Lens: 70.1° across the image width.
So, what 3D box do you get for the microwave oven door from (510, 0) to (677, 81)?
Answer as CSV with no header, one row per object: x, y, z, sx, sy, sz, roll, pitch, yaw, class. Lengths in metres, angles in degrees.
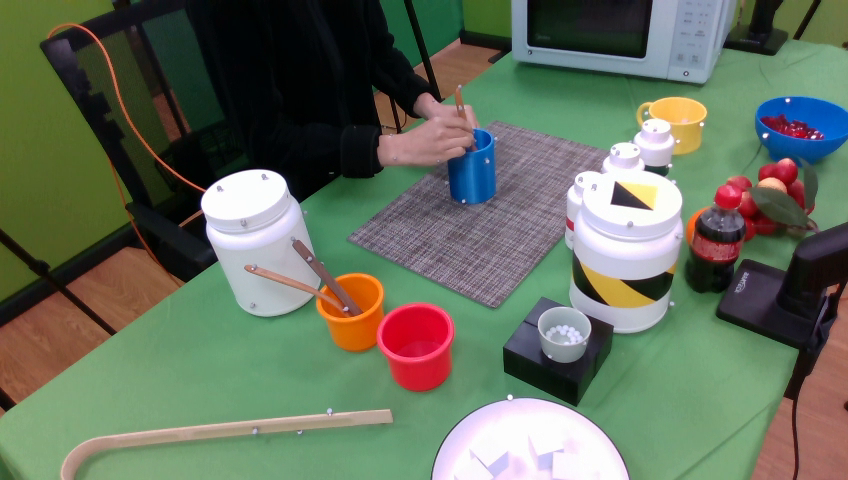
0.354,-0.478,1.290,0.353,0.245,0.039,15,45,25,microwave oven door

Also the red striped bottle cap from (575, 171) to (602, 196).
0.242,-0.081,0.876,0.044,0.018,0.044,-5,43,5,red striped bottle cap

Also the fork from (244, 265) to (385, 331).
-0.142,0.078,0.806,0.209,0.018,0.028,30,32,-23,fork

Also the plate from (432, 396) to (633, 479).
0.112,0.261,0.634,0.209,0.038,0.208,-5,40,4,plate

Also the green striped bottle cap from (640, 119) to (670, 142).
0.370,-0.175,0.968,0.044,0.020,0.044,-3,41,3,green striped bottle cap

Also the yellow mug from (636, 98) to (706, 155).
0.453,-0.217,1.128,0.100,0.064,0.129,-34,46,-27,yellow mug

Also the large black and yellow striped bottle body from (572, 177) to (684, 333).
0.262,0.017,0.788,0.131,0.185,0.130,-5,40,4,large black and yellow striped bottle body

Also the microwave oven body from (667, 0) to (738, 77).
0.462,-0.552,1.369,0.439,0.261,0.326,15,45,26,microwave oven body

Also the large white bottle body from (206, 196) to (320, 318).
-0.233,0.008,0.876,0.130,0.185,0.130,-4,40,4,large white bottle body

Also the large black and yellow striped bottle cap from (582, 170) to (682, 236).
0.252,-0.048,0.735,0.115,0.019,0.114,-3,40,3,large black and yellow striped bottle cap

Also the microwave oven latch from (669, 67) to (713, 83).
0.556,-0.348,1.261,0.078,0.029,0.030,16,46,27,microwave oven latch

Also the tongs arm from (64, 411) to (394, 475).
-0.228,0.240,0.715,0.385,0.026,0.050,-4,43,5,tongs arm

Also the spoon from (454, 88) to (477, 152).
0.076,-0.163,0.988,0.021,0.195,0.042,22,58,43,spoon

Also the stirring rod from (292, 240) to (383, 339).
-0.118,0.068,0.826,0.176,0.006,0.014,49,59,-4,stirring rod

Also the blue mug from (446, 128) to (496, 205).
0.082,-0.137,1.056,0.082,0.106,0.116,-6,40,2,blue mug

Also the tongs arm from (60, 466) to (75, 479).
-0.239,0.301,0.649,0.386,0.028,0.028,6,49,17,tongs arm

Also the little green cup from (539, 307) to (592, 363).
0.167,0.114,0.721,0.061,0.039,0.061,-4,43,4,little green cup

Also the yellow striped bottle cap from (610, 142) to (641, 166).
0.309,-0.131,0.925,0.044,0.019,0.044,-4,46,4,yellow striped bottle cap

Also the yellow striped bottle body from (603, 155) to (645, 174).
0.314,-0.090,0.957,0.063,0.121,0.062,-4,40,4,yellow striped bottle body

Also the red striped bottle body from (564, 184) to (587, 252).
0.247,-0.041,0.910,0.063,0.120,0.062,-3,39,3,red striped bottle body

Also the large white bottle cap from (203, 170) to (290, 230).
-0.241,-0.057,0.822,0.115,0.018,0.114,-4,41,4,large white bottle cap

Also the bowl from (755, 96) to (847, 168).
0.645,-0.177,1.041,0.151,0.077,0.150,-5,40,4,bowl

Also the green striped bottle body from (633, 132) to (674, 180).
0.376,-0.135,1.001,0.063,0.120,0.063,-5,40,5,green striped bottle body
